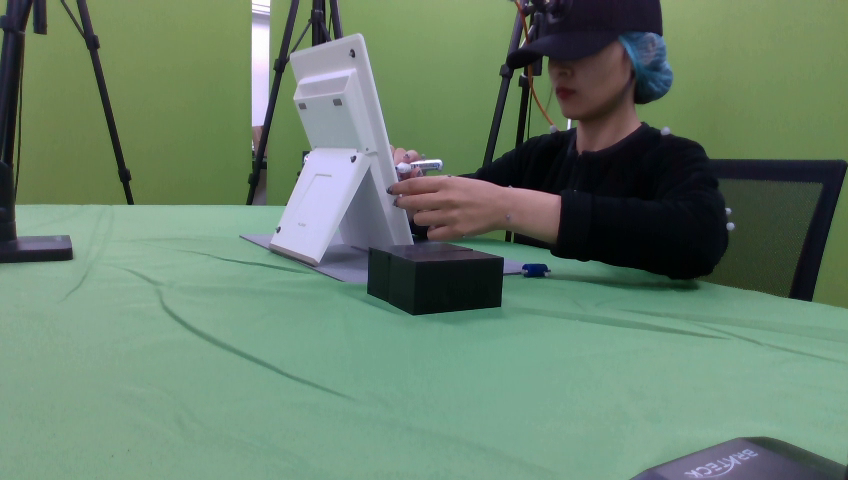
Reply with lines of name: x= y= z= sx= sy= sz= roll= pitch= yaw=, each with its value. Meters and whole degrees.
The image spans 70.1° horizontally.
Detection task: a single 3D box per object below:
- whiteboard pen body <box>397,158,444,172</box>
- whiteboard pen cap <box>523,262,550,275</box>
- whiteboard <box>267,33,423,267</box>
whiteboard pen body: x=-0.009 y=-0.105 z=0.848 sx=0.017 sy=0.017 sz=0.141 roll=5 pitch=11 yaw=27
whiteboard pen cap: x=0.145 y=0.037 z=0.776 sx=0.033 sy=0.018 sz=0.018 roll=1 pitch=6 yaw=-29
whiteboard: x=-0.153 y=-0.098 z=0.818 sx=0.144 sy=0.305 sz=0.216 roll=-25 pitch=21 yaw=-29
